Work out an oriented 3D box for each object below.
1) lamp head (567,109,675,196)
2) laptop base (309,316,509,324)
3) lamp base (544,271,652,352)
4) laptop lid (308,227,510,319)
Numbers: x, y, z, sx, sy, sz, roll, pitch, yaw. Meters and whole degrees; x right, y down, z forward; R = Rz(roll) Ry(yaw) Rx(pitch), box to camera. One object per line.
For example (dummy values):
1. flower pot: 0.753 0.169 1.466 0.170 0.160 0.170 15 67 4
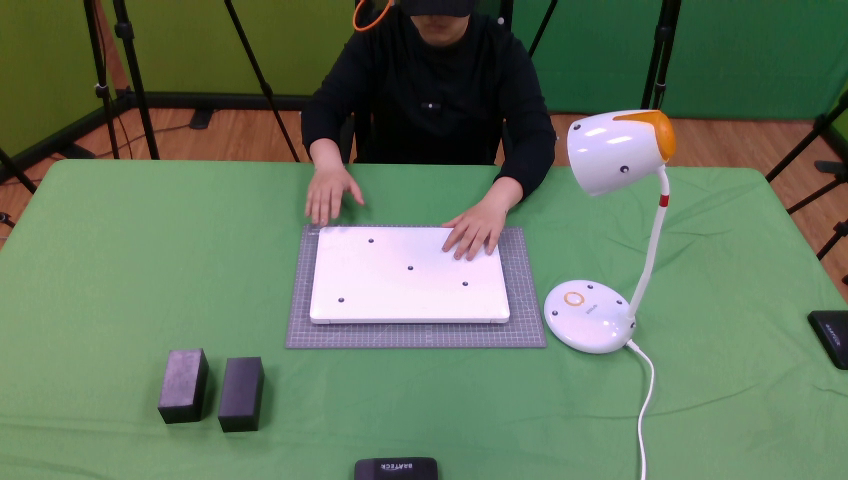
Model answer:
1. lamp head: 0.272 -0.123 0.818 0.122 0.113 0.112 -9 35 37
2. laptop base: -0.028 0.065 1.136 0.355 0.023 0.234 0 42 -4
3. lamp base: 0.310 0.086 1.029 0.178 0.181 0.160 32 52 21
4. laptop lid: -0.028 0.055 1.129 0.357 0.013 0.240 2 44 -3
